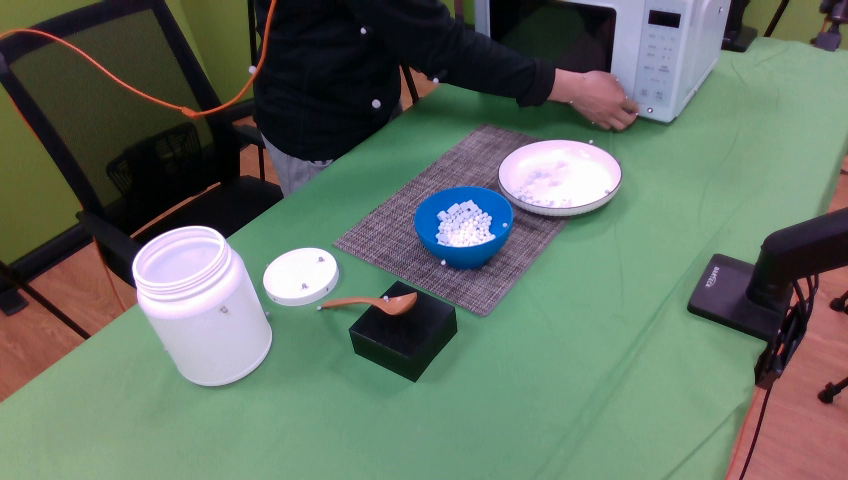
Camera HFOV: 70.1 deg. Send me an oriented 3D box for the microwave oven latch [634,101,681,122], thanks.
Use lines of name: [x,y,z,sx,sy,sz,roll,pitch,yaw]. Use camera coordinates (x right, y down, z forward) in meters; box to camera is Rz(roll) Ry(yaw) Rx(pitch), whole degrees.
microwave oven latch: [0.446,-0.250,1.159,0.078,0.029,0.030,25,51,33]

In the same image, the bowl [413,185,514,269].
bowl: [0.062,-0.009,0.921,0.151,0.077,0.150,-4,40,4]

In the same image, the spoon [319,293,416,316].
spoon: [-0.082,0.086,0.827,0.192,0.022,0.041,-3,36,41]

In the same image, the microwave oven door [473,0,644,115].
microwave oven door: [0.257,-0.396,1.199,0.353,0.245,0.039,21,48,29]

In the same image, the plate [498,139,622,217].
plate: [0.231,-0.103,1.039,0.209,0.038,0.208,-4,41,4]

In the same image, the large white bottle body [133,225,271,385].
large white bottle body: [-0.285,0.084,0.784,0.130,0.185,0.130,-4,41,4]

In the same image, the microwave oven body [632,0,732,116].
microwave oven body: [0.377,-0.463,1.267,0.438,0.261,0.327,21,49,30]

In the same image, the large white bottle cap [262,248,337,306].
large white bottle cap: [-0.193,0.056,0.934,0.115,0.018,0.114,-4,41,4]
